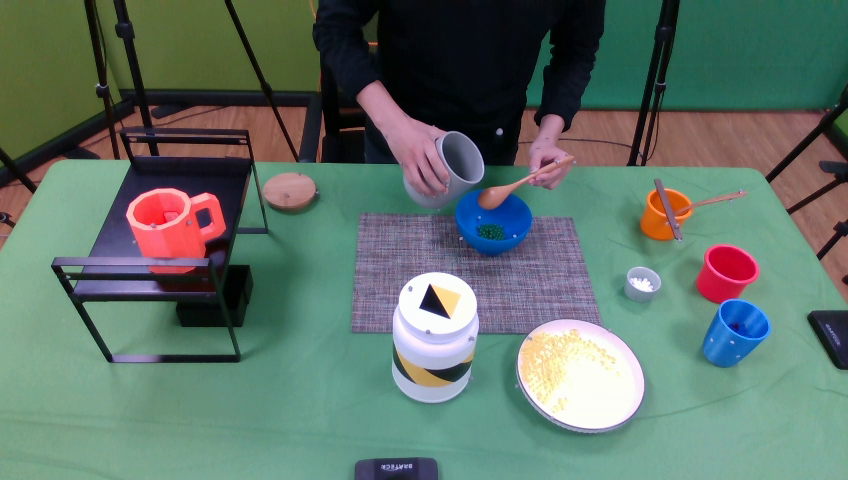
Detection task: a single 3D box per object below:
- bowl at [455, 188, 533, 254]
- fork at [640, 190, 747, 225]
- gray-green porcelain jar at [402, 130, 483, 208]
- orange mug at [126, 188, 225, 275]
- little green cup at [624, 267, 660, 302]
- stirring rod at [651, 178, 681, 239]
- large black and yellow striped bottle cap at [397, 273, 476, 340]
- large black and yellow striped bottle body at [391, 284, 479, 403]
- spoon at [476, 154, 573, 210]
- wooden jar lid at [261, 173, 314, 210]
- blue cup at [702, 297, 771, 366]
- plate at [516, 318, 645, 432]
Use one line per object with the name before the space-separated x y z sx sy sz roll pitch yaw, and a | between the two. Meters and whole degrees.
bowl | 0.131 -0.025 1.186 0.151 0.077 0.150 2 46 -2
fork | 0.533 -0.065 1.211 0.207 0.019 0.028 -22 28 39
gray-green porcelain jar | 0.029 -0.124 1.108 0.106 0.126 0.105 21 55 -32
orange mug | -0.357 -0.019 0.884 0.126 0.101 0.083 -29 54 -23
little green cup | 0.406 0.084 1.135 0.061 0.039 0.061 3 46 -3
stirring rod | 0.480 -0.065 1.204 0.014 0.006 0.175 3 46 -3
large black and yellow striped bottle cap | 0.018 0.094 0.878 0.115 0.019 0.114 3 46 -3
large black and yellow striped bottle body | 0.015 0.153 0.938 0.131 0.185 0.130 2 46 -2
spoon | 0.181 -0.109 1.103 0.194 0.041 0.021 -28 5 13
wooden jar lid | -0.286 -0.101 1.273 0.108 0.021 0.107 3 45 -3
blue cup | 0.519 0.162 1.025 0.093 0.101 0.092 3 45 -3
plate | 0.253 0.221 0.992 0.209 0.038 0.208 2 46 -2
